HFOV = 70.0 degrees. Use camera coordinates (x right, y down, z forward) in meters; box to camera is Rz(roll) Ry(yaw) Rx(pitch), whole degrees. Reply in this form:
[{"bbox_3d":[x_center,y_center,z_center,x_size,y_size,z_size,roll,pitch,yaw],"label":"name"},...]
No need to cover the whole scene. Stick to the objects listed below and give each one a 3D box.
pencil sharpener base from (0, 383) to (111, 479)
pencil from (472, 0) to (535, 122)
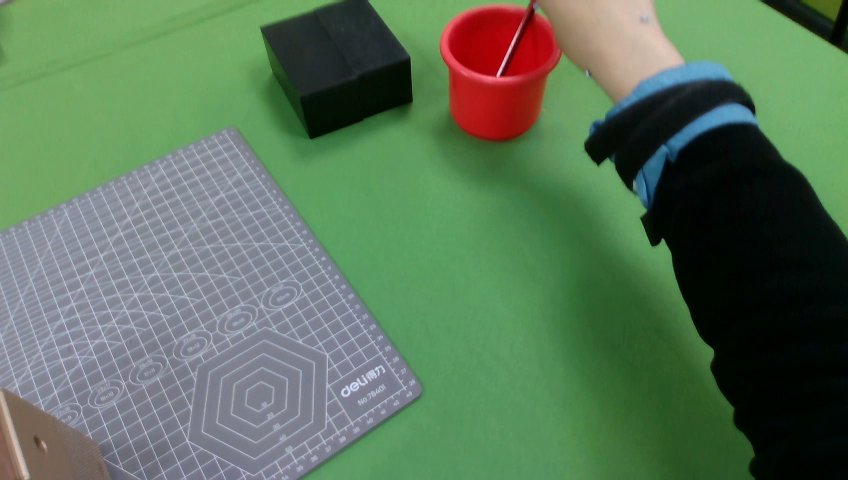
[{"bbox_3d":[-0.223,0.132,0.314,0.077,0.108,0.061,-31,61,-17],"label":"pencil sharpener base"},{"bbox_3d":[0.082,-0.187,0.495,0.012,0.012,0.194,29,103,19],"label":"pencil"}]
